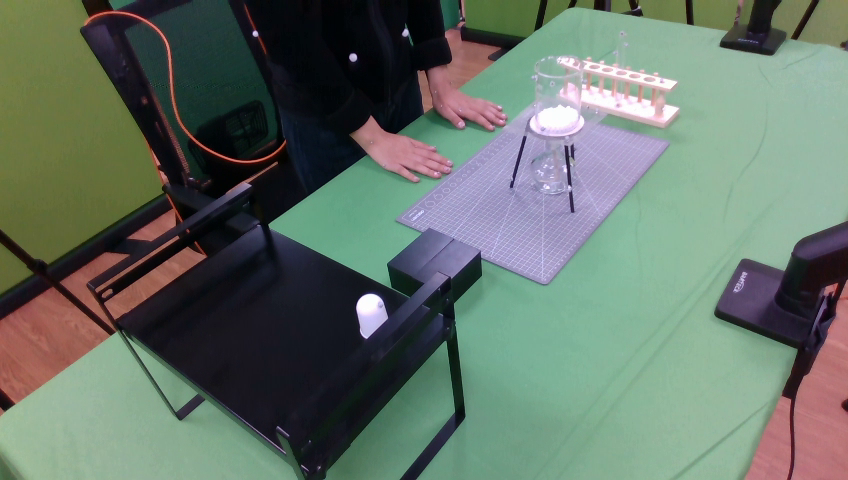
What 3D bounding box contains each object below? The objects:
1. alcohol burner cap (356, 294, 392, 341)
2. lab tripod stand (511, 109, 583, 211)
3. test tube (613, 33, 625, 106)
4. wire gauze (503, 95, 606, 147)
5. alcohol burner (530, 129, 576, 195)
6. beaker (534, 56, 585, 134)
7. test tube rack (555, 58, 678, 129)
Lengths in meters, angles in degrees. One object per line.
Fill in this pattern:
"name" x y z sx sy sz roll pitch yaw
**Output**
"alcohol burner cap" -0.051 0.074 0.601 0.034 0.048 0.033 -5 42 5
"lab tripod stand" 0.220 -0.138 1.014 0.148 0.132 0.147 -3 41 3
"test tube" 0.380 -0.330 1.180 0.017 0.151 0.017 -7 41 6
"wire gauze" 0.211 -0.191 0.976 0.120 0.011 0.125 24 52 32
"alcohol burner" 0.220 -0.137 1.029 0.078 0.119 0.077 -5 42 5
"beaker" 0.209 -0.226 0.942 0.074 0.101 0.083 -2 41 7
"test tube rack" 0.389 -0.307 1.229 0.240 0.085 0.067 25 50 33
